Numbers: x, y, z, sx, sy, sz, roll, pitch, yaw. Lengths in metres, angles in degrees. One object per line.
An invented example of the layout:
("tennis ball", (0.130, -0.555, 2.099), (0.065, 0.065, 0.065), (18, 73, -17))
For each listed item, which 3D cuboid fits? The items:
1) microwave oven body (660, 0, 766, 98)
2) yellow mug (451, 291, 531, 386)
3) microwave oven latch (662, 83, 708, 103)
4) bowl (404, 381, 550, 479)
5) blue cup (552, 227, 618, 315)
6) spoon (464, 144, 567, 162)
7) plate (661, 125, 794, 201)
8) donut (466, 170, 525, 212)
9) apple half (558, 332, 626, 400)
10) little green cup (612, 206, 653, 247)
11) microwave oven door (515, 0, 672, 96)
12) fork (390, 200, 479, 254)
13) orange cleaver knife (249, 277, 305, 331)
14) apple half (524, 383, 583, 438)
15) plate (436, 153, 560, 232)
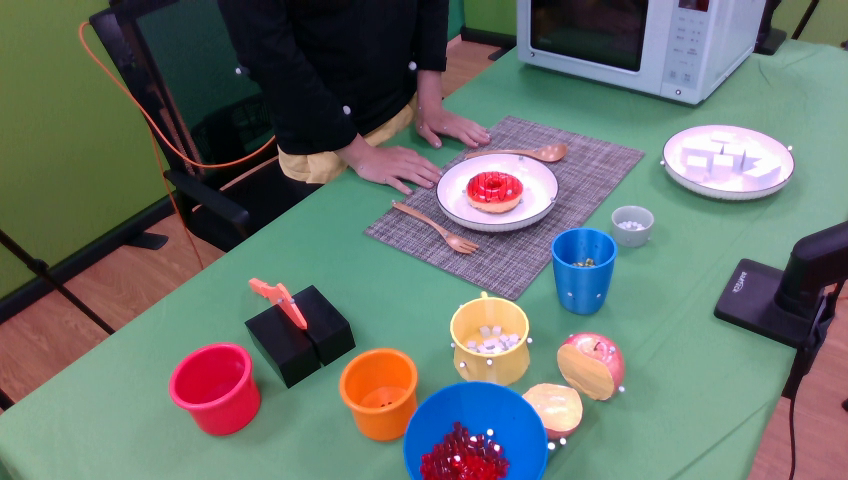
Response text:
("microwave oven body", (0.472, -0.513, 1.317), (0.438, 0.261, 0.327), (26, 51, 34))
("yellow mug", (0.086, 0.120, 0.786), (0.100, 0.064, 0.130), (-7, 39, 1))
("microwave oven latch", (0.518, -0.296, 1.204), (0.078, 0.029, 0.030), (27, 52, 35))
("bowl", (0.058, 0.235, 0.645), (0.151, 0.077, 0.150), (-4, 39, 4))
("blue cup", (0.218, 0.047, 0.825), (0.092, 0.100, 0.092), (-6, 39, 5))
("spoon", (0.170, -0.163, 1.134), (0.193, 0.022, 0.041), (1, 60, 10))
("plate", (0.513, -0.128, 1.035), (0.207, 0.039, 0.206), (-4, 40, 4))
("donut", (0.121, -0.083, 1.019), (0.099, 0.048, 0.098), (-4, 39, 3))
("apple half", (0.209, 0.147, 0.731), (0.080, 0.075, 0.053), (25, 46, 38))
("little green cup", (0.321, -0.019, 0.936), (0.061, 0.039, 0.061), (-4, 40, 4))
("microwave oven door", (0.343, -0.454, 1.259), (0.353, 0.245, 0.039), (26, 51, 33))
("fork", (0.011, -0.024, 0.998), (0.028, 0.019, 0.205), (-38, 51, -24))
("orange cleaver knife", (-0.210, 0.088, 0.856), (0.012, 0.077, 0.210), (-28, 15, -25))
("apple half", (0.150, 0.204, 0.704), (0.081, 0.033, 0.081), (-10, 25, 5))
("plate", (0.125, -0.078, 1.029), (0.209, 0.038, 0.208), (-4, 40, 4))
